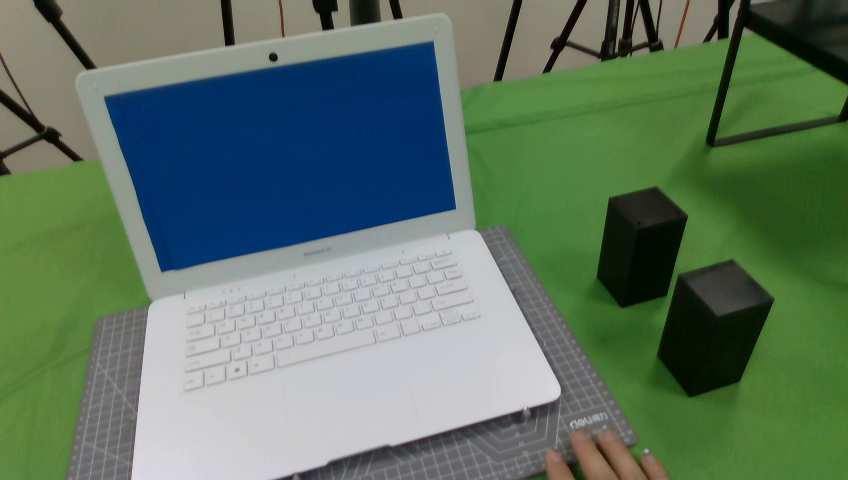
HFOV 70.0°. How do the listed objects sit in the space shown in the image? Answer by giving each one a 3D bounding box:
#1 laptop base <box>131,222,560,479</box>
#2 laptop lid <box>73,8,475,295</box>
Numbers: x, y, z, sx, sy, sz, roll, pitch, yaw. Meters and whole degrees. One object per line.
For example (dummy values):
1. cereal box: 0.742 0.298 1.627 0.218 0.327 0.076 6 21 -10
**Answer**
1. laptop base: -0.081 0.095 0.568 0.355 0.023 0.232 -13 44 -9
2. laptop lid: -0.129 -0.085 0.610 0.357 0.243 0.013 -14 23 -9
